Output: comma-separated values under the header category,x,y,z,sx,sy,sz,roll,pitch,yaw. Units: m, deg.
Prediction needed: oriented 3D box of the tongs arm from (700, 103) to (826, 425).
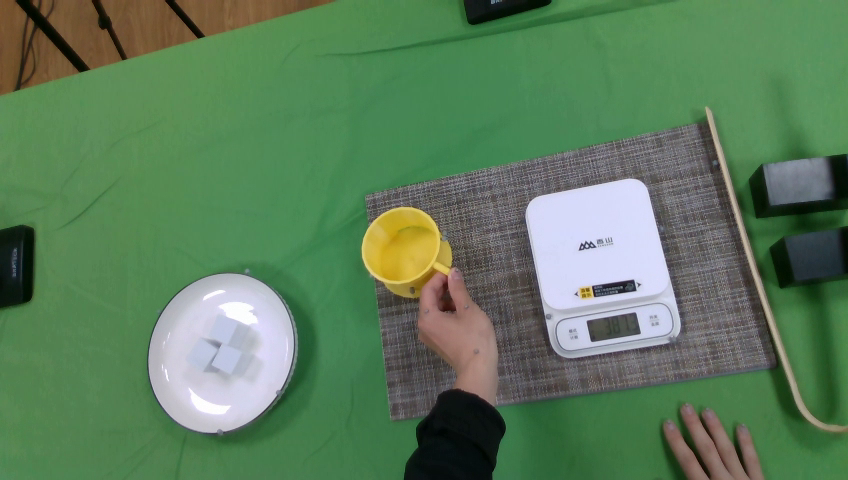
category,x,y,z,sx,sy,sz,roll,pitch,yaw
tongs arm,0.378,0.015,0.693,0.028,0.028,0.385,-20,71,32

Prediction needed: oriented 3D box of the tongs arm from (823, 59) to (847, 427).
category,x,y,z,sx,sy,sz,roll,pitch,yaw
tongs arm,0.439,0.001,0.641,0.050,0.027,0.383,-6,81,39

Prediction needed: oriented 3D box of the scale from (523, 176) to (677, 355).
category,x,y,z,sx,sy,sz,roll,pitch,yaw
scale,0.207,0.028,0.724,0.148,0.032,0.199,-11,75,10

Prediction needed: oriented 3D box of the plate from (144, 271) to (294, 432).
category,x,y,z,sx,sy,sz,roll,pitch,yaw
plate,-0.266,0.146,0.799,0.207,0.039,0.206,-3,76,11

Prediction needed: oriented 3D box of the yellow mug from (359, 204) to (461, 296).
category,x,y,z,sx,sy,sz,roll,pitch,yaw
yellow mug,-0.011,0.020,0.749,0.130,0.064,0.100,27,81,22
